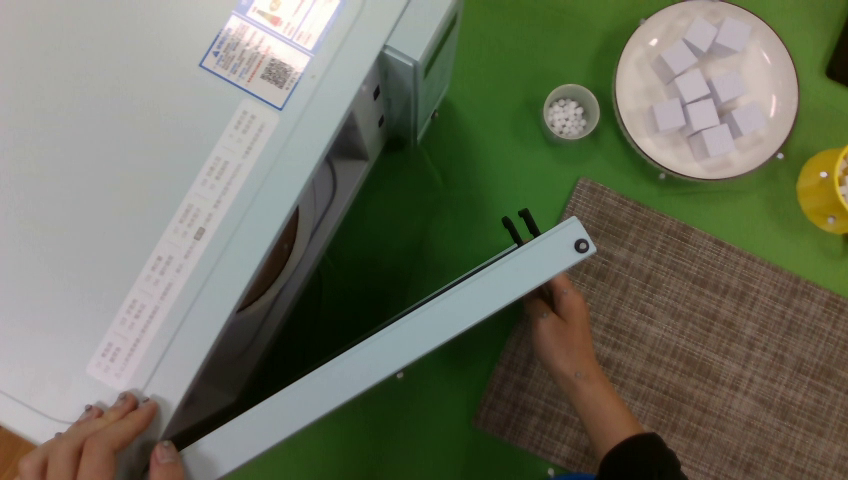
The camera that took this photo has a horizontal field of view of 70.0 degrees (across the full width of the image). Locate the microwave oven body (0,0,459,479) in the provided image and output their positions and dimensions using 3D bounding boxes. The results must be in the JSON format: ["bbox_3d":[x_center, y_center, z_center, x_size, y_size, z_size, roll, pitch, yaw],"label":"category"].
[{"bbox_3d":[-0.217,-0.075,0.543,0.326,0.260,0.441,28,86,0],"label":"microwave oven body"}]

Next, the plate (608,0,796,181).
[{"bbox_3d":[0.307,-0.166,0.684,0.208,0.039,0.207,0,85,-2],"label":"plate"}]

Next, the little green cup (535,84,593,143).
[{"bbox_3d":[0.153,-0.138,0.674,0.061,0.038,0.061,0,86,-2],"label":"little green cup"}]

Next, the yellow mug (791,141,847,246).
[{"bbox_3d":[0.474,-0.045,0.666,0.100,0.064,0.130,-12,87,-3],"label":"yellow mug"}]

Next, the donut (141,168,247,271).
[{"bbox_3d":[-0.217,-0.020,0.576,0.099,0.048,0.099,0,90,0],"label":"donut"}]

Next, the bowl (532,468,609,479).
[{"bbox_3d":[0.145,0.303,0.621,0.151,0.077,0.151,0,85,-1],"label":"bowl"}]

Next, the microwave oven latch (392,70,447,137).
[{"bbox_3d":[-0.005,-0.152,0.652,0.030,0.029,0.079,32,86,1],"label":"microwave oven latch"}]

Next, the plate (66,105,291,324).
[{"bbox_3d":[-0.232,-0.024,0.588,0.209,0.038,0.209,0,89,-3],"label":"plate"}]

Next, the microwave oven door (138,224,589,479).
[{"bbox_3d":[-0.043,0.095,0.531,0.356,0.244,0.039,-30,85,-4],"label":"microwave oven door"}]
